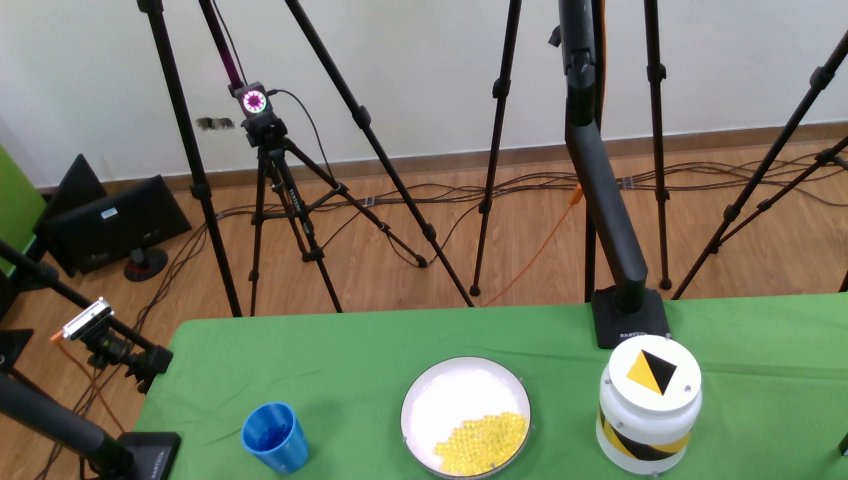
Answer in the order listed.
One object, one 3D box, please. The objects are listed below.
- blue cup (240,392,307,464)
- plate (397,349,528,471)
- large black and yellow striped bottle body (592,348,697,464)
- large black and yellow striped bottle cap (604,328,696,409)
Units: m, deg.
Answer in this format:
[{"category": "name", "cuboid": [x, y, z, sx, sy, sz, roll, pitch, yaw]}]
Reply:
[{"category": "blue cup", "cuboid": [-0.228, 0.304, 0.951, 0.092, 0.101, 0.091, -7, 47, 8]}, {"category": "plate", "cuboid": [0.061, 0.271, 0.968, 0.209, 0.038, 0.207, -5, 47, 6]}, {"category": "large black and yellow striped bottle body", "cuboid": [0.310, 0.223, 0.862, 0.130, 0.186, 0.129, -6, 47, 6]}, {"category": "large black and yellow striped bottle cap", "cuboid": [0.297, 0.167, 0.799, 0.115, 0.019, 0.114, -7, 46, 7]}]
